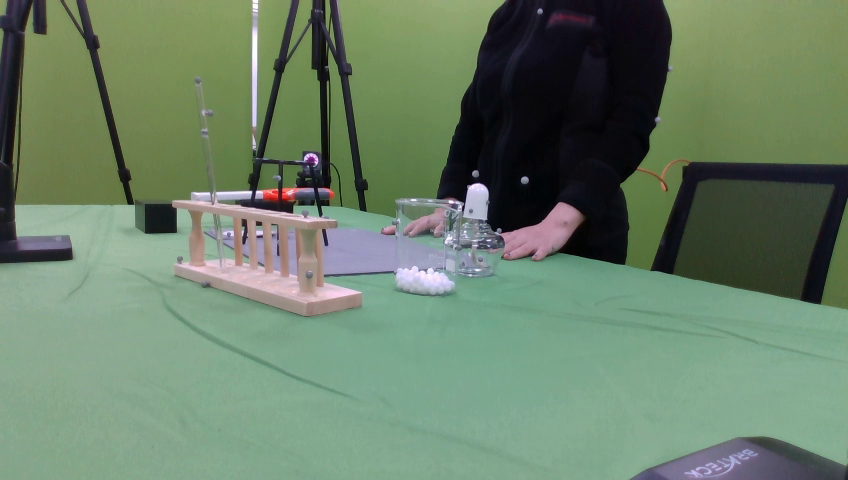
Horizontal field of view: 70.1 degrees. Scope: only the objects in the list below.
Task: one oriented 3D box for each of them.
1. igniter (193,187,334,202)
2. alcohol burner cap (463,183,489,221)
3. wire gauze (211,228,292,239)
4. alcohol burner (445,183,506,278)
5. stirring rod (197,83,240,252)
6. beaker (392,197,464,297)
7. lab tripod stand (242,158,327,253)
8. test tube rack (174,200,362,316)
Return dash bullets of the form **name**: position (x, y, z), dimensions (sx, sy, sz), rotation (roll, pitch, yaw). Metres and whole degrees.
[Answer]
- **igniter**: position (-0.316, -0.090, 1.213), dimensions (0.278, 0.025, 0.057), rotation (-5, 13, -31)
- **alcohol burner cap**: position (0.067, -0.049, 0.765), dimensions (0.034, 0.048, 0.034), rotation (5, 4, 0)
- **wire gauze**: position (-0.298, -0.013, 1.039), dimensions (0.122, 0.011, 0.124), rotation (-2, 6, -27)
- **alcohol burner**: position (0.066, -0.013, 0.771), dimensions (0.078, 0.119, 0.078), rotation (0, 7, 0)
- **stirring rod**: position (-0.212, -0.072, 0.625), dimensions (0.006, 0.176, 0.014), rotation (-14, 12, -21)
- **beaker**: position (0.005, 0.007, 0.647), dimensions (0.074, 0.100, 0.083), rotation (-5, 11, -44)
- **lab tripod stand**: position (-0.207, -0.054, 0.895), dimensions (0.148, 0.131, 0.148), rotation (2, 5, 0)
- **test tube rack**: position (-0.169, 0.009, 0.622), dimensions (0.241, 0.085, 0.067), rotation (9, 9, 41)
